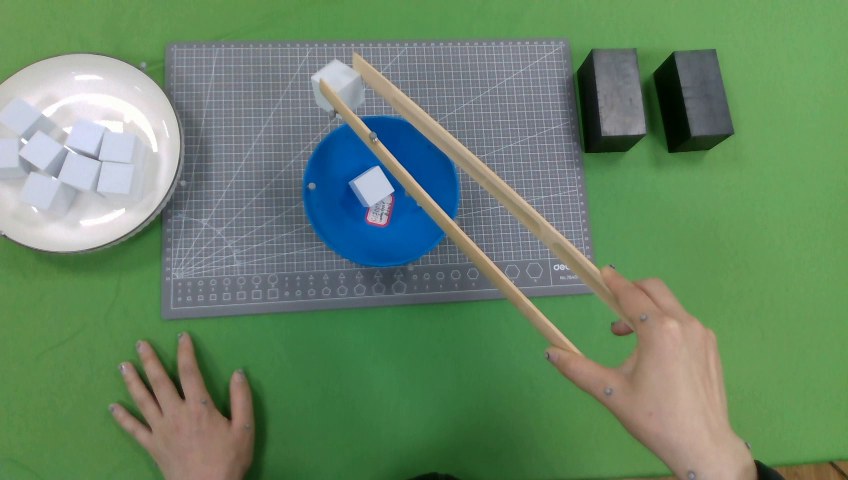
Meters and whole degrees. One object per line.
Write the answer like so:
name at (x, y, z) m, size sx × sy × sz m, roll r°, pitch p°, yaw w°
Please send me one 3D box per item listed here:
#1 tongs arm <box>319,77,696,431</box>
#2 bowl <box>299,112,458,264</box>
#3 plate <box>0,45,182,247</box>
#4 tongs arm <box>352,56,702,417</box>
tongs arm at (0.050, -0.002, 0.470) m, size 0.051 × 0.027 × 0.382 m, roll -35°, pitch 75°, yaw -21°
bowl at (-0.046, -0.043, 0.609) m, size 0.151 × 0.077 × 0.150 m, roll 1°, pitch 79°, yaw -6°
plate at (-0.347, -0.092, 0.608) m, size 0.208 × 0.039 × 0.206 m, roll 1°, pitch 79°, yaw -5°
tongs arm at (0.068, -0.016, 0.479) m, size 0.028 × 0.028 × 0.385 m, roll -38°, pitch 76°, yaw -25°
